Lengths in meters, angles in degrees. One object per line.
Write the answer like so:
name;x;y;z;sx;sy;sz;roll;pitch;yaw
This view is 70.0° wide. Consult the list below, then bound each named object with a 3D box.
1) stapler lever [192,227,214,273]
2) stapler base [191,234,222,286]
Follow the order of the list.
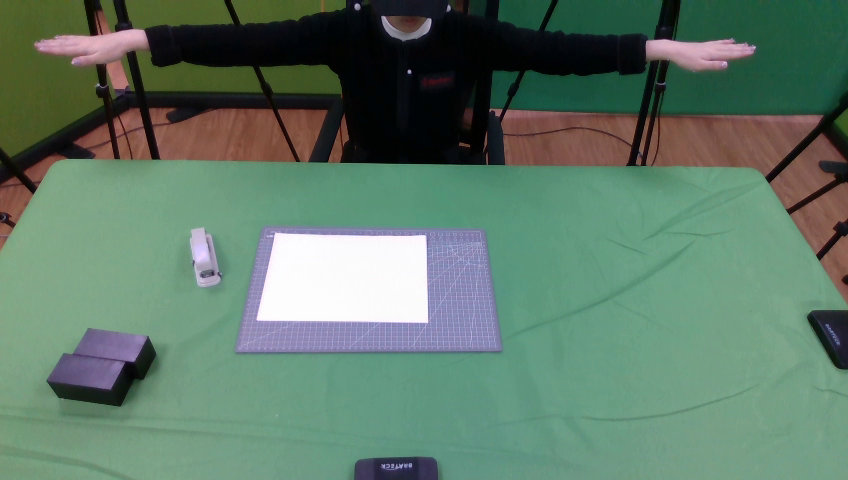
stapler lever;-0.410;0.013;1.118;0.027;0.040;0.117;-13;48;-18
stapler base;-0.410;0.031;1.135;0.041;0.024;0.129;-13;47;-18
